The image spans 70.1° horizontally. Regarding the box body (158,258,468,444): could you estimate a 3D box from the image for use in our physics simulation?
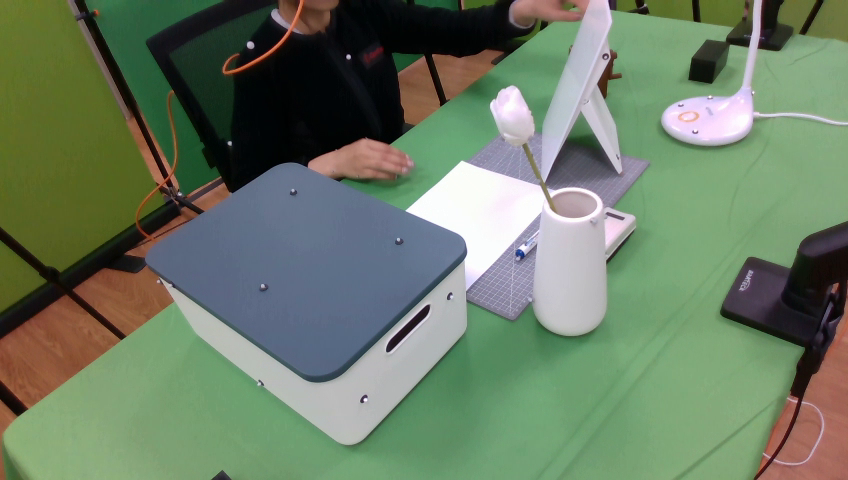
[{"bbox_3d":[-0.147,0.072,0.816,0.361,0.161,0.255,24,50,33],"label":"box body"}]

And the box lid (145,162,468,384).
[{"bbox_3d":[-0.157,0.014,0.769,0.368,0.015,0.264,25,51,33],"label":"box lid"}]

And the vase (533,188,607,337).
[{"bbox_3d":[0.187,0.033,0.771,0.098,0.201,0.097,-6,41,6],"label":"vase"}]

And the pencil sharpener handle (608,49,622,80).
[{"bbox_3d":[0.394,-0.368,1.253,0.030,0.068,0.036,-9,31,1],"label":"pencil sharpener handle"}]

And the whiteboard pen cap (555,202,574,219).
[{"bbox_3d":[0.230,-0.048,0.994,0.018,0.018,0.033,26,54,34],"label":"whiteboard pen cap"}]

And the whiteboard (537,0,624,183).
[{"bbox_3d":[0.316,-0.256,1.047,0.144,0.306,0.216,15,42,-1],"label":"whiteboard"}]

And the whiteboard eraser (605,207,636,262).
[{"bbox_3d":[0.272,-0.003,0.919,0.055,0.042,0.113,27,51,32],"label":"whiteboard eraser"}]

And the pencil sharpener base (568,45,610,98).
[{"bbox_3d":[0.345,-0.352,1.263,0.077,0.107,0.061,-9,40,1],"label":"pencil sharpener base"}]

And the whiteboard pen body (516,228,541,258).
[{"bbox_3d":[0.192,-0.015,0.963,0.017,0.017,0.141,26,51,34],"label":"whiteboard pen body"}]

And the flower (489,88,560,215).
[{"bbox_3d":[0.159,-0.028,0.720,0.038,0.364,0.044,-14,44,23],"label":"flower"}]

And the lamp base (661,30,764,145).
[{"bbox_3d":[0.535,-0.287,1.096,0.179,0.181,0.159,-10,40,-4],"label":"lamp base"}]
